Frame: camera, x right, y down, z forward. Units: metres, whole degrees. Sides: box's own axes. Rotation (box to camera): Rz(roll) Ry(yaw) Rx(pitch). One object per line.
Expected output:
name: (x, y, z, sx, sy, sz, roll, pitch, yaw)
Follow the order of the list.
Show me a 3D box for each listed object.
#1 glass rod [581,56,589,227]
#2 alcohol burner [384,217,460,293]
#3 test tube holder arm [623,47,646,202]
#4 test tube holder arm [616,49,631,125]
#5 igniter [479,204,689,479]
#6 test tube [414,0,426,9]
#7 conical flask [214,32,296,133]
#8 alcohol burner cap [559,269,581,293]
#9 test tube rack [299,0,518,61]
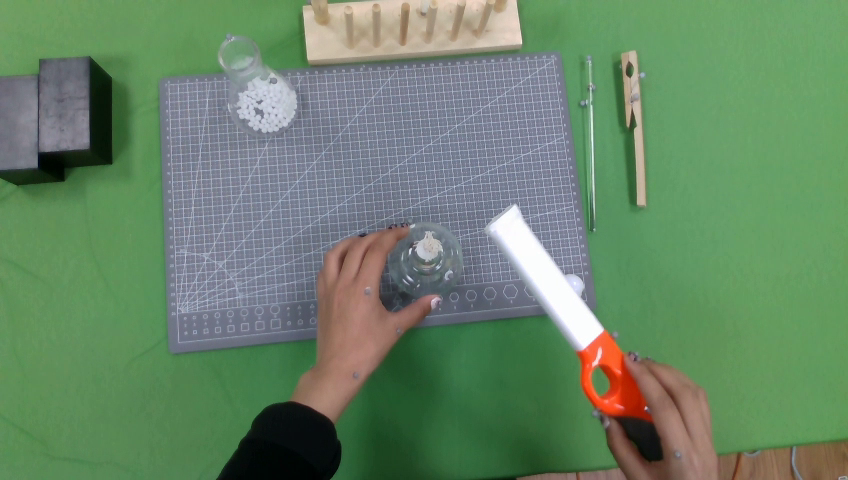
glass rod: (0.183, -0.113, 0.684, 0.008, 0.008, 0.199, 1, 83, -4)
alcohol burner: (-0.002, 0.012, 0.597, 0.078, 0.119, 0.077, 0, 79, -2)
test tube holder arm: (0.237, -0.131, 0.685, 0.013, 0.015, 0.178, -9, 81, 30)
test tube holder arm: (0.230, -0.175, 0.694, 0.010, 0.015, 0.087, -8, 81, 30)
igniter: (0.138, 0.090, 0.503, 0.057, 0.025, 0.277, -38, 97, -15)
test tube: (0.004, -0.281, 0.611, 0.017, 0.150, 0.017, 1, 77, -6)
conical flask: (-0.175, -0.161, 0.608, 0.075, 0.122, 0.075, 1, 80, -3)
alcohol burner cap: (0.148, 0.045, 0.638, 0.034, 0.048, 0.033, 1, 80, -3)
test tube rack: (-0.015, -0.252, 0.655, 0.242, 0.085, 0.066, -6, 81, -5)
